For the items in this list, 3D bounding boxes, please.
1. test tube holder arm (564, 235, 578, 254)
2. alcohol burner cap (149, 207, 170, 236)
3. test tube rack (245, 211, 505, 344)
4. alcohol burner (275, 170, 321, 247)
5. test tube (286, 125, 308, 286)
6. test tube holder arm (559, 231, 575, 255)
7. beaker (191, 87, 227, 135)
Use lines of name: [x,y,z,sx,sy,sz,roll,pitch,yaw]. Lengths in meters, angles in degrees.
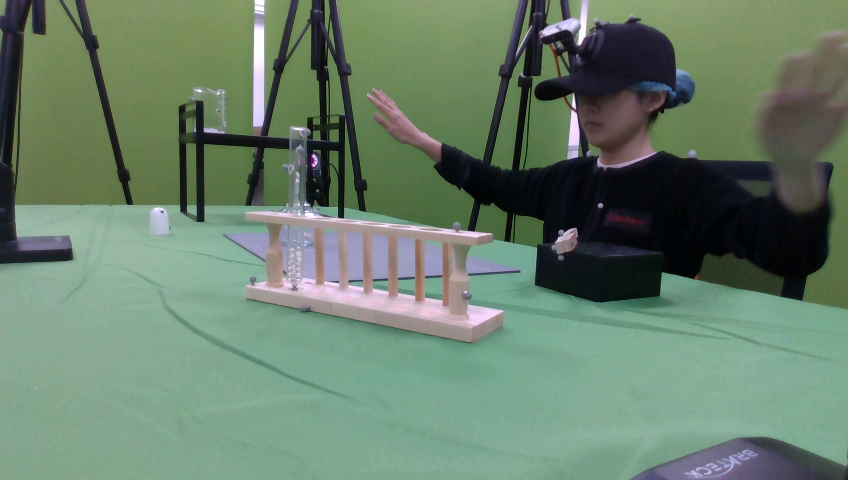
test tube holder arm: [0.163,0.005,0.669,0.010,0.015,0.088,-3,4,17]
alcohol burner cap: [-0.445,-0.032,1.019,0.034,0.048,0.034,4,8,0]
test tube rack: [-0.049,0.025,0.547,0.241,0.085,0.067,7,8,29]
alcohol burner: [-0.199,-0.050,0.948,0.078,0.119,0.078,1,7,0]
test tube: [-0.118,-0.030,0.558,0.017,0.150,0.017,4,12,-1]
test tube holder arm: [0.170,0.001,0.714,0.013,0.015,0.179,-3,4,16]
beaker: [-0.475,-0.284,1.345,0.074,0.100,0.083,-3,10,-37]
